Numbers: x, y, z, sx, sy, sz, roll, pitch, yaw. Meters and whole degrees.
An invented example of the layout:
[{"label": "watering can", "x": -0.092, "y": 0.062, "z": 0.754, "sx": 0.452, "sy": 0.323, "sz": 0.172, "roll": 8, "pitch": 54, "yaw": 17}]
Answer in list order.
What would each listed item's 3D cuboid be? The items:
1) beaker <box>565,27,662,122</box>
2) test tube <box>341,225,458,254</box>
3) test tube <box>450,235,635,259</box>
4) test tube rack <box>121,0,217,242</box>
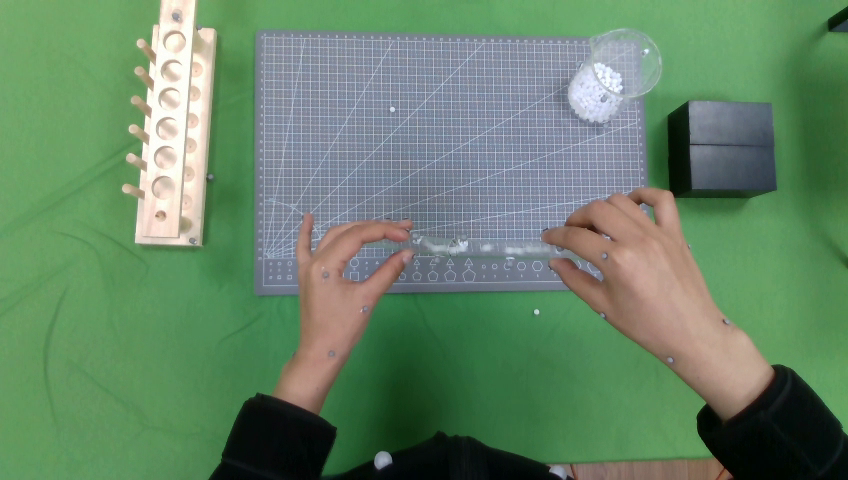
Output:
[{"label": "beaker", "x": 0.200, "y": -0.179, "z": 0.667, "sx": 0.084, "sy": 0.100, "sz": 0.074, "roll": 37, "pitch": 82, "yaw": 1}, {"label": "test tube", "x": -0.027, "y": -0.002, "z": 0.543, "sx": 0.017, "sy": 0.149, "sz": 0.017, "roll": -7, "pitch": 99, "yaw": -43}, {"label": "test tube", "x": 0.096, "y": 0.006, "z": 0.490, "sx": 0.150, "sy": 0.017, "sz": 0.017, "roll": 1, "pitch": 84, "yaw": -2}, {"label": "test tube rack", "x": -0.267, "y": -0.123, "z": 0.626, "sx": 0.067, "sy": 0.085, "sz": 0.241, "roll": 3, "pitch": 84, "yaw": -5}]
